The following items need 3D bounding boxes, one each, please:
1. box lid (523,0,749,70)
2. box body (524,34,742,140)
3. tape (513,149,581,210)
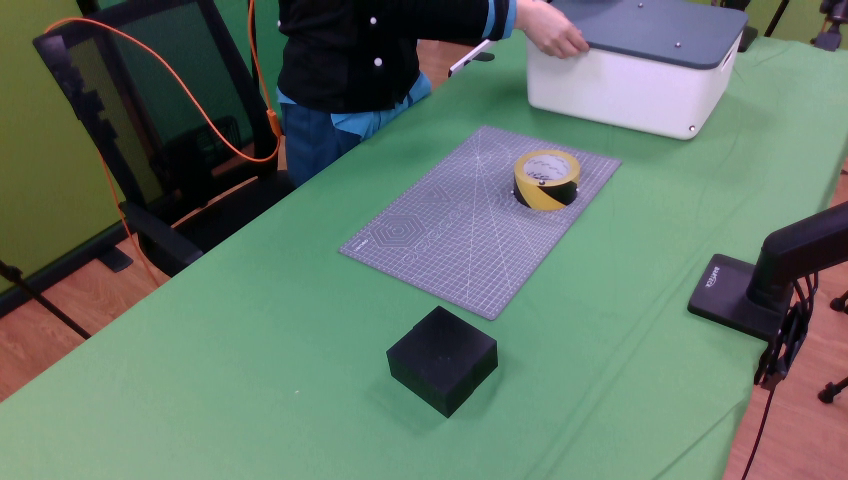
[{"bbox_3d":[0.405,-0.413,1.157,0.369,0.015,0.264,22,48,27],"label":"box lid"},{"bbox_3d":[0.412,-0.354,1.212,0.361,0.161,0.254,20,48,29],"label":"box body"},{"bbox_3d":[0.209,-0.104,1.032,0.117,0.053,0.116,-4,40,4],"label":"tape"}]
